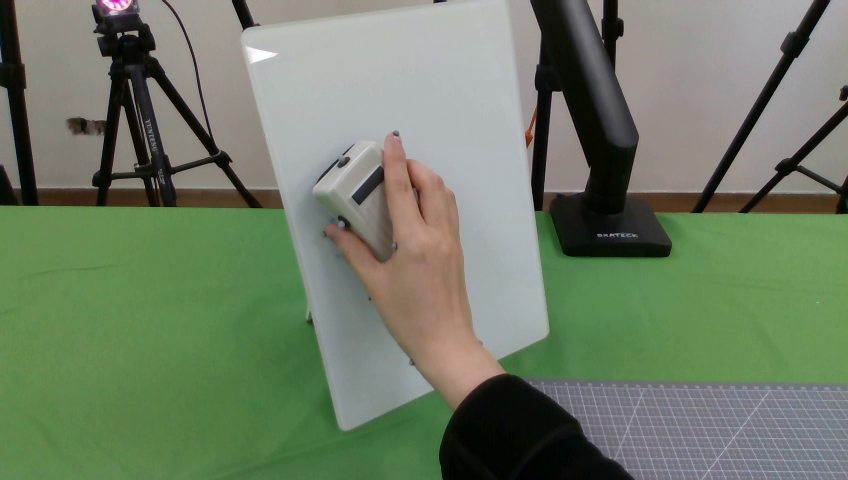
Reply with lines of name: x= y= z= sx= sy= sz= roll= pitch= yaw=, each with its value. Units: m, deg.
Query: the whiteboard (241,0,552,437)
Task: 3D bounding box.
whiteboard: x=-0.031 y=-0.033 z=0.531 sx=0.218 sy=0.307 sz=0.142 roll=-19 pitch=19 yaw=-25

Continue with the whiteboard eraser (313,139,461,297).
whiteboard eraser: x=-0.025 y=-0.014 z=0.436 sx=0.055 sy=0.114 sz=0.041 roll=-51 pitch=29 yaw=-21
